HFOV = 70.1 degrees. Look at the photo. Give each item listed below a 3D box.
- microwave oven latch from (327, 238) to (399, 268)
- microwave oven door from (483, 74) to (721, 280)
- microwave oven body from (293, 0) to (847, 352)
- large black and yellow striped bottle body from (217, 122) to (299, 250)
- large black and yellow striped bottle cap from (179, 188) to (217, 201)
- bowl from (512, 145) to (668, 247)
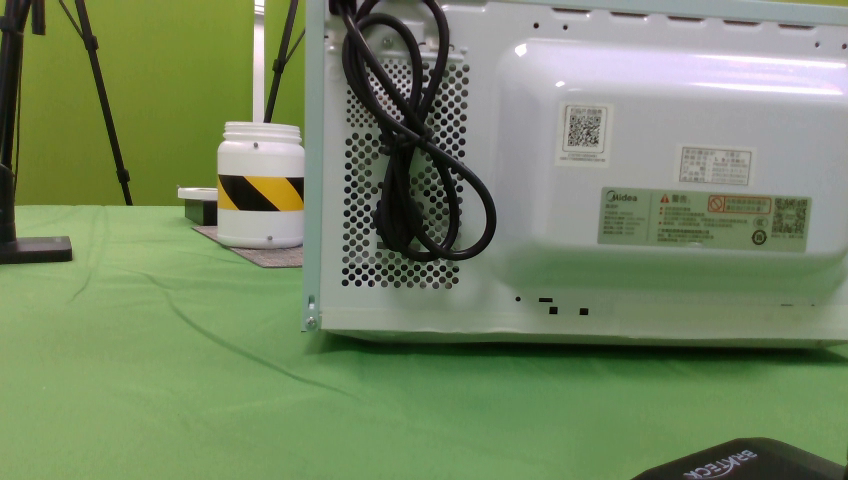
[{"bbox_3d":[-0.069,0.015,0.694,0.079,0.029,0.030,3,7,-3],"label":"microwave oven latch"},{"bbox_3d":[0.221,-0.093,0.843,0.039,0.243,0.354,-3,9,-38],"label":"microwave oven door"},{"bbox_3d":[0.122,-0.055,0.550,0.442,0.260,0.325,3,7,-5],"label":"microwave oven body"},{"bbox_3d":[-0.250,-0.084,0.931,0.131,0.184,0.130,2,7,0],"label":"large black and yellow striped bottle body"},{"bbox_3d":[-0.434,-0.093,1.226,0.115,0.019,0.115,3,9,0],"label":"large black and yellow striped bottle cap"},{"bbox_3d":[0.159,-0.037,0.599,0.151,0.076,0.151,6,-6,1],"label":"bowl"}]
